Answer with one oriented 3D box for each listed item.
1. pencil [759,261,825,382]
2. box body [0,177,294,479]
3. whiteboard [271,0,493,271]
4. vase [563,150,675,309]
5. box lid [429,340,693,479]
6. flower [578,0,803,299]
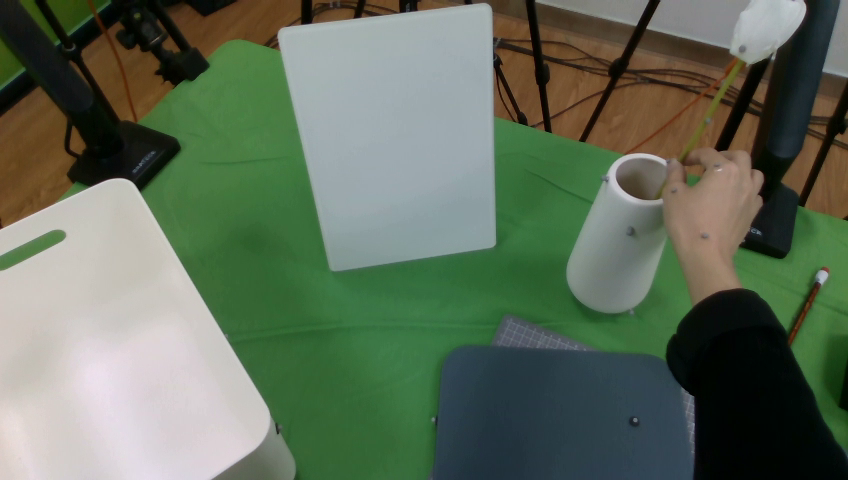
[{"bbox_3d":[0.429,0.092,0.707,0.012,0.012,0.193,33,63,23],"label":"pencil"},{"bbox_3d":[-0.322,0.145,0.600,0.254,0.162,0.360,-32,60,-19],"label":"box body"},{"bbox_3d":[-0.039,-0.139,0.742,0.217,0.308,0.142,-8,36,-3],"label":"whiteboard"},{"bbox_3d":[0.213,-0.007,0.667,0.098,0.202,0.097,-1,53,2],"label":"vase"},{"bbox_3d":[0.134,0.268,0.588,0.263,0.015,0.368,2,55,3],"label":"box lid"},{"bbox_3d":[0.230,-0.066,0.586,0.038,0.364,0.043,-23,56,-40],"label":"flower"}]
